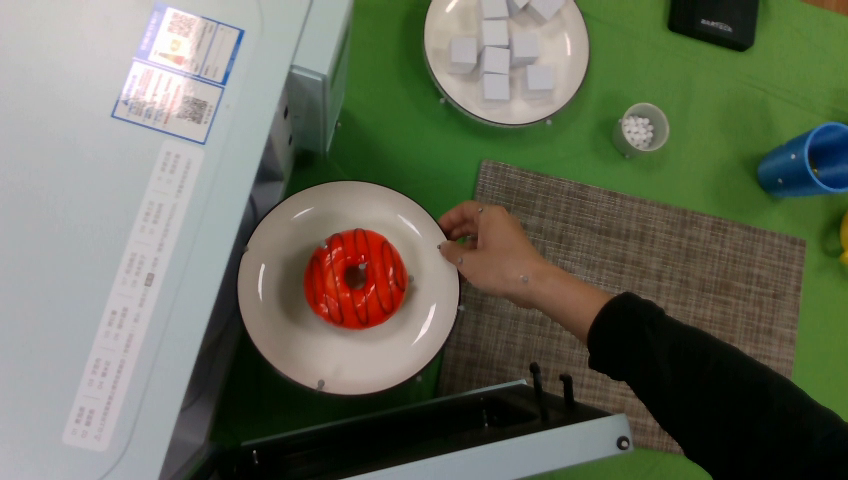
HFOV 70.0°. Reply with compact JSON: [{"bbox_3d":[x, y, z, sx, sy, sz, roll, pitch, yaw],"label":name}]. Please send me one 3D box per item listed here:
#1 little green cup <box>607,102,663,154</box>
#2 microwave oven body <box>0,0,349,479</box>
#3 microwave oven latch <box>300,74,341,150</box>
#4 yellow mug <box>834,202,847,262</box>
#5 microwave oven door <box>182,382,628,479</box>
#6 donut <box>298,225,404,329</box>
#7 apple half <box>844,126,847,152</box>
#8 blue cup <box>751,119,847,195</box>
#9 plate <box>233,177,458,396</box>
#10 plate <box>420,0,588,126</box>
[{"bbox_3d":[0.262,-0.138,0.760,0.062,0.038,0.061,1,83,-10],"label":"little green cup"},{"bbox_3d":[-0.284,-0.025,0.533,0.327,0.260,0.440,16,82,-8],"label":"microwave oven body"},{"bbox_3d":[-0.115,-0.143,0.674,0.030,0.029,0.079,19,81,-8],"label":"microwave oven latch"},{"bbox_3d":[0.594,-0.006,0.789,0.131,0.064,0.100,-30,90,-11],"label":"yellow mug"},{"bbox_3d":[-0.033,0.191,0.548,0.356,0.244,0.039,-9,83,-11],"label":"microwave oven door"},{"bbox_3d":[-0.068,0.035,0.570,0.099,0.048,0.098,2,79,-9],"label":"donut"},{"bbox_3d":[0.594,-0.143,0.802,0.053,0.074,0.080,18,84,-4],"label":"apple half"},{"bbox_3d":[0.470,-0.095,0.760,0.093,0.100,0.092,1,85,-10],"label":"blue cup"},{"bbox_3d":[-0.072,0.042,0.579,0.210,0.038,0.208,3,76,-10],"label":"plate"},{"bbox_3d":[0.096,-0.237,0.741,0.208,0.039,0.207,1,83,-10],"label":"plate"}]
